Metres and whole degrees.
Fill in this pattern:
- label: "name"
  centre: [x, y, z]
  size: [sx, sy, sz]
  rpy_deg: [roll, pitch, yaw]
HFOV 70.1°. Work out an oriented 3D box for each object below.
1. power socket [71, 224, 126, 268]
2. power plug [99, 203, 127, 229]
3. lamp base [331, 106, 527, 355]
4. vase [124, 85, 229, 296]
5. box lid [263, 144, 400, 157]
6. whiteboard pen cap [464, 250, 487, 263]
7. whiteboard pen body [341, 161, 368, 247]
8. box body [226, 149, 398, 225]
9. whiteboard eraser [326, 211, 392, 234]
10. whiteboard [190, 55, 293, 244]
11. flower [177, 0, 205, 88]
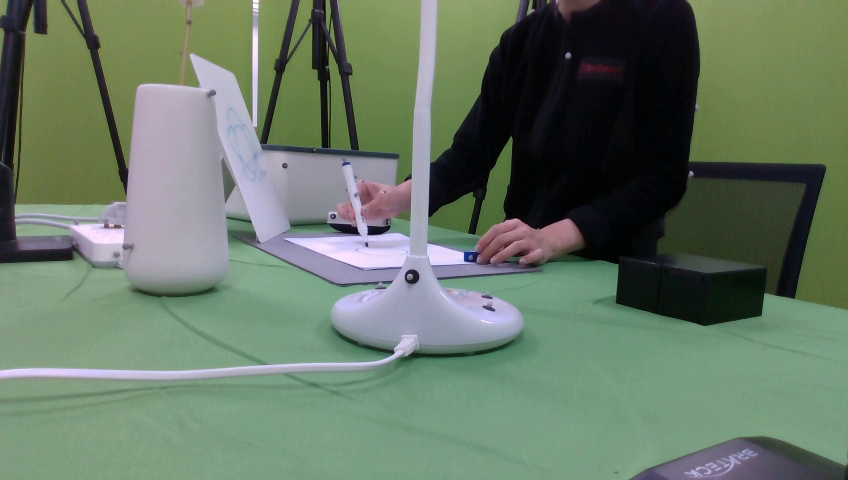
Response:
- label: "power socket"
  centre: [-0.409, 0.004, 0.793]
  size: [0.072, 0.032, 0.225]
  rpy_deg: [-2, 8, -37]
- label: "power plug"
  centre: [-0.415, -0.026, 0.848]
  size: [0.073, 0.052, 0.035]
  rpy_deg: [6, 5, -28]
- label: "lamp base"
  centre: [0.006, -0.012, 0.478]
  size: [0.161, 0.180, 0.179]
  rpy_deg: [2, 10, 2]
- label: "vase"
  centre: [-0.244, -0.047, 0.598]
  size: [0.098, 0.200, 0.098]
  rpy_deg: [3, 8, 0]
- label: "box lid"
  centre: [-0.263, -0.203, 1.369]
  size: [0.262, 0.015, 0.373]
  rpy_deg: [9, 10, 39]
- label: "whiteboard pen cap"
  centre: [0.072, 0.023, 0.851]
  size: [0.033, 0.018, 0.018]
  rpy_deg: [1, 7, 10]
- label: "whiteboard pen body"
  centre: [-0.108, -0.056, 0.954]
  size: [0.017, 0.140, 0.017]
  rpy_deg: [-15, -4, -1]
- label: "box body"
  centre: [-0.265, -0.129, 1.380]
  size: [0.253, 0.160, 0.366]
  rpy_deg: [8, 9, 39]
- label: "whiteboard eraser"
  centre: [-0.120, -0.033, 1.131]
  size: [0.112, 0.042, 0.056]
  rpy_deg: [4, 8, 13]
- label: "whiteboard"
  centre: [-0.362, -0.129, 1.029]
  size: [0.144, 0.305, 0.217]
  rpy_deg: [-18, 7, 3]
- label: "flower"
  centre: [-0.243, -0.131, 0.609]
  size: [0.044, 0.361, 0.038]
  rpy_deg: [-5, -12, 11]
